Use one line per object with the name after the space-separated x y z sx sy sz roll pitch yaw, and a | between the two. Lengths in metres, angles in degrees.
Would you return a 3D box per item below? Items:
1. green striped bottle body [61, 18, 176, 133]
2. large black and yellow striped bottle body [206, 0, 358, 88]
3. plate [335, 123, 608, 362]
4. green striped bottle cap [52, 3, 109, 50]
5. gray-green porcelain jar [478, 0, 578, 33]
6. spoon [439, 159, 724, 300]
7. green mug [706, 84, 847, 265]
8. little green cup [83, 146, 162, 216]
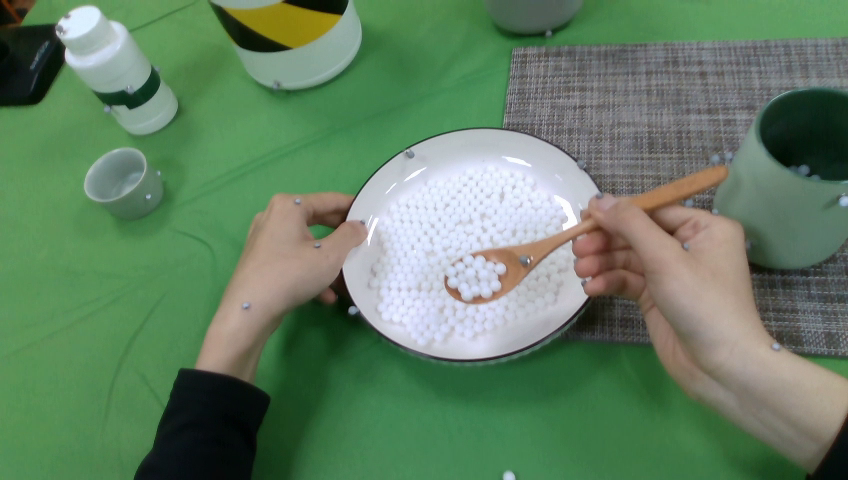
-0.302 -0.166 0.593 0.063 0.120 0.062 -5 59 9 | green striped bottle body
-0.148 -0.253 0.576 0.130 0.186 0.129 -5 59 9 | large black and yellow striped bottle body
0.036 -0.001 0.475 0.209 0.038 0.207 -5 59 8 | plate
-0.312 -0.193 0.550 0.044 0.020 0.044 -3 61 6 | green striped bottle cap
0.098 -0.273 0.574 0.106 0.128 0.105 -5 59 8 | gray-green porcelain jar
0.100 -0.008 0.393 0.193 0.022 0.041 -25 55 13 | spoon
0.266 -0.036 0.411 0.124 0.106 0.092 24 67 22 | green mug
-0.282 -0.054 0.571 0.061 0.039 0.061 -5 58 8 | little green cup
